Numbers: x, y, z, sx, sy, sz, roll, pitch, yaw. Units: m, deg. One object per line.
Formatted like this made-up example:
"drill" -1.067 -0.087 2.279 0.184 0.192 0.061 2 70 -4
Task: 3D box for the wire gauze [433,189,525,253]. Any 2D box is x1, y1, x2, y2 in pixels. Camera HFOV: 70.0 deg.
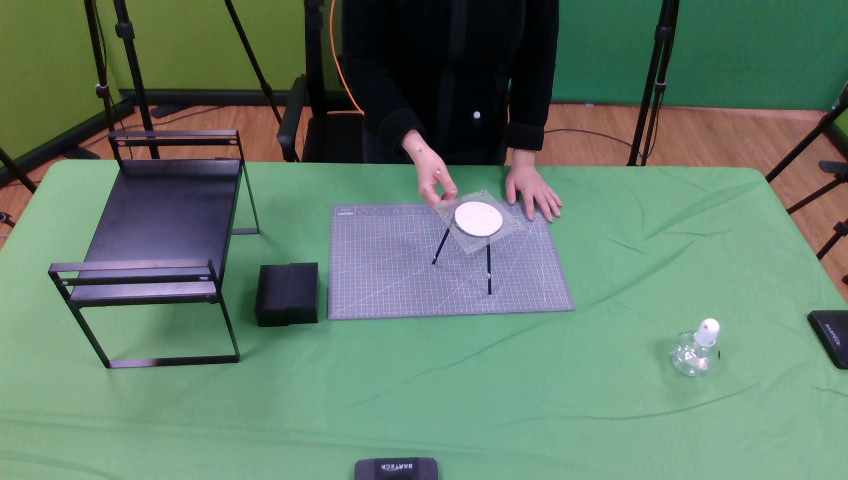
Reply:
"wire gauze" 0.095 -0.039 1.065 0.121 0.011 0.124 -20 52 -23

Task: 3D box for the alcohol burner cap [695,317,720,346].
"alcohol burner cap" 0.459 0.146 0.975 0.034 0.048 0.033 -3 45 3

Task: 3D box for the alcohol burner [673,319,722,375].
"alcohol burner" 0.458 0.170 1.002 0.078 0.120 0.077 2 45 -2

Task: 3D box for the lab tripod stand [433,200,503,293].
"lab tripod stand" 0.095 0.006 1.115 0.148 0.132 0.147 3 47 -3
